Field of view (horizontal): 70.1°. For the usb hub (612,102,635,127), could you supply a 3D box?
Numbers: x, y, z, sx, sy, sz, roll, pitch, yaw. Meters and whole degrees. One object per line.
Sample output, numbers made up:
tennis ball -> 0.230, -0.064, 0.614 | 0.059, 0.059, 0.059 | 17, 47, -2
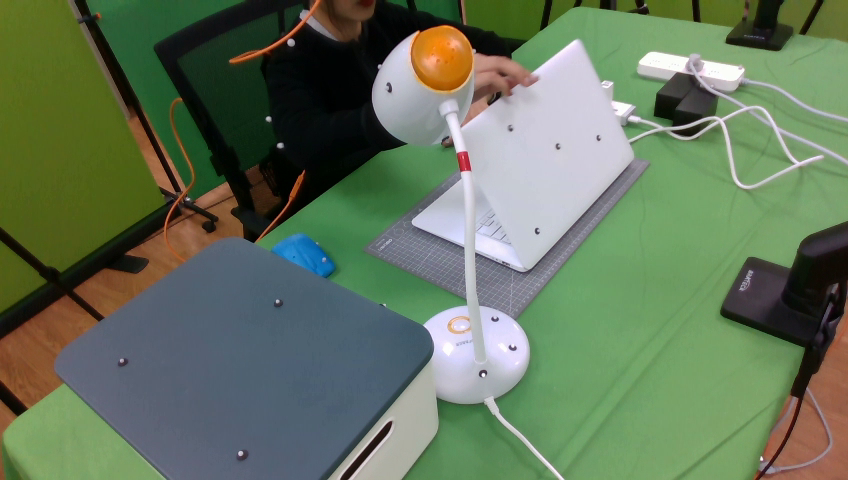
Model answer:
usb hub -> 0.360, -0.263, 1.228 | 0.124, 0.025, 0.049 | 24, 49, 33

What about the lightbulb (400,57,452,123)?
lightbulb -> 0.003, -0.169, 0.668 | 0.059, 0.108, 0.059 | 0, 79, -2

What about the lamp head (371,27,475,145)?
lamp head -> 0.007, -0.167, 0.644 | 0.113, 0.112, 0.122 | -22, 2, -14

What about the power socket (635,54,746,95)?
power socket -> 0.564, -0.357, 1.293 | 0.225, 0.033, 0.072 | 24, 51, 33

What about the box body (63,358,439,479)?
box body -> -0.189, 0.178, 0.702 | 0.361, 0.161, 0.255 | 22, 49, 32

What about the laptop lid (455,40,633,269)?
laptop lid -> 0.208, -0.146, 0.951 | 0.358, 0.242, 0.013 | -40, 19, -33

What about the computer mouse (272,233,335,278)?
computer mouse -> -0.197, 0.029, 0.981 | 0.063, 0.041, 0.116 | -31, 48, -26

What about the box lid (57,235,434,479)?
box lid -> -0.198, 0.123, 0.653 | 0.368, 0.015, 0.264 | 22, 49, 32

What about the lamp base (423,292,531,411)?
lamp base -> 0.055, 0.095, 0.740 | 0.161, 0.181, 0.177 | -19, 43, -11

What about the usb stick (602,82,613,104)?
usb stick -> 0.360, -0.281, 1.204 | 0.021, 0.059, 0.027 | 24, 49, 33

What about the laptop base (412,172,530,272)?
laptop base -> 0.176, -0.083, 1.055 | 0.233, 0.023, 0.355 | 21, 48, 36

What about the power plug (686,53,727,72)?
power plug -> 0.585, -0.361, 1.260 | 0.072, 0.053, 0.035 | 15, 55, 17
